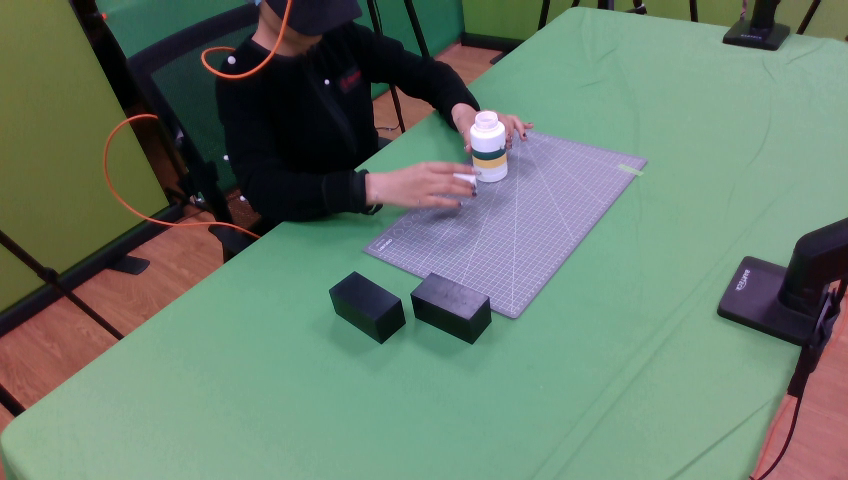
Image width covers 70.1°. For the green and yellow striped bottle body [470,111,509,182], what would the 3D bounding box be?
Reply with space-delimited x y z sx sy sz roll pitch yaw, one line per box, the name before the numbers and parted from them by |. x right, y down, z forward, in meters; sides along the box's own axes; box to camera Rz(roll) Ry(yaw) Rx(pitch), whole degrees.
green and yellow striped bottle body | 0.116 -0.168 1.079 0.063 0.120 0.063 -6 40 5

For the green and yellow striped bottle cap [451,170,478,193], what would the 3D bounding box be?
green and yellow striped bottle cap | 0.069 -0.100 1.031 0.045 0.020 0.045 -8 40 8
